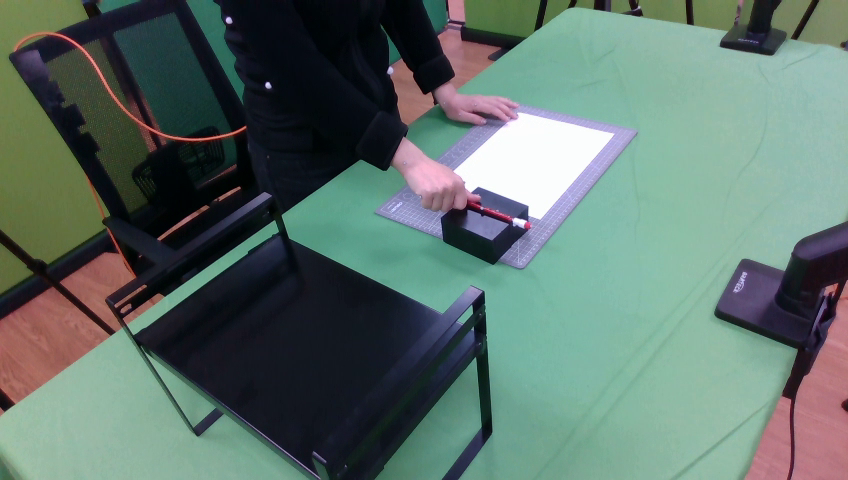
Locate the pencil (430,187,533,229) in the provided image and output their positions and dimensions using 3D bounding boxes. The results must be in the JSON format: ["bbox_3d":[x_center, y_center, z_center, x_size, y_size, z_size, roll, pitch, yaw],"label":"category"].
[{"bbox_3d":[0.086,-0.053,0.951,0.192,0.012,0.012,24,50,30],"label":"pencil"}]
